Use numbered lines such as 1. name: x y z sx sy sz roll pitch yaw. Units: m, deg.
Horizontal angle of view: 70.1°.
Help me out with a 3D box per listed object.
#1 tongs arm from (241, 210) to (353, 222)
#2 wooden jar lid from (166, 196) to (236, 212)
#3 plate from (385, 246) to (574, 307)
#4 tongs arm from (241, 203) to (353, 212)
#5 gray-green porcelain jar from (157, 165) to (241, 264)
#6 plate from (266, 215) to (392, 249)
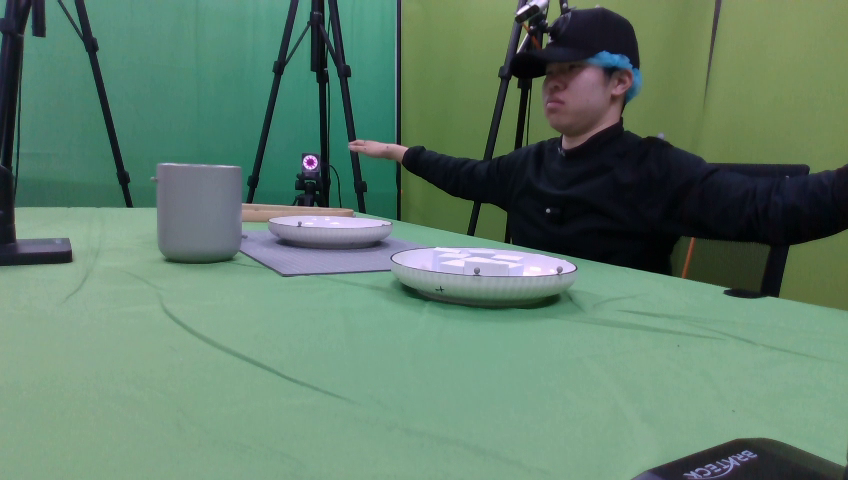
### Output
1. tongs arm: -0.337 -0.054 1.329 0.389 0.028 0.028 -1 6 -27
2. wooden jar lid: -0.369 -0.059 1.001 0.108 0.020 0.108 3 6 0
3. plate: 0.060 0.041 0.678 0.208 0.039 0.207 3 7 0
4. tongs arm: -0.361 -0.069 1.406 0.386 0.026 0.050 1 8 -14
5. gray-green porcelain jar: -0.300 -0.036 0.811 0.106 0.126 0.106 2 8 0
6. plate: -0.159 -0.015 1.019 0.209 0.038 0.209 3 7 0
